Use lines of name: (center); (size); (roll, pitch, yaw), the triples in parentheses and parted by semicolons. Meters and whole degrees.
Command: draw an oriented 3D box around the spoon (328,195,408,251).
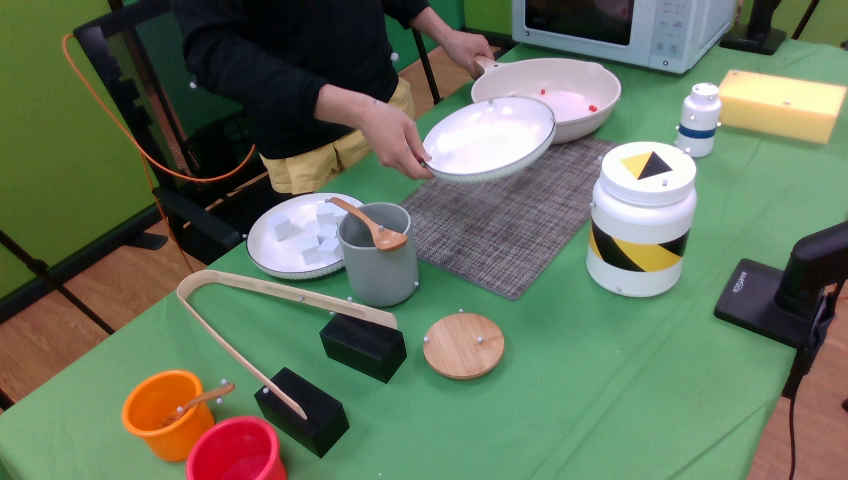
spoon: (-0.083, -0.029, 0.829); (0.042, 0.022, 0.192); (-31, 42, -21)

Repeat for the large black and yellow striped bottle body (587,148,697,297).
large black and yellow striped bottle body: (0.298, -0.026, 0.835); (0.131, 0.185, 0.130); (-4, 41, 4)

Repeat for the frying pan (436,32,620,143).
frying pan: (0.181, -0.343, 1.279); (0.308, 0.103, 0.483); (-26, 51, -24)

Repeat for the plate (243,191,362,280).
plate: (-0.187, -0.005, 0.992); (0.207, 0.039, 0.206); (-4, 40, 4)

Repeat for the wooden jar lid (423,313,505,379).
wooden jar lid: (0.053, 0.142, 0.800); (0.108, 0.021, 0.108); (-4, 39, 4)

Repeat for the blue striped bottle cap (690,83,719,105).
blue striped bottle cap: (0.481, -0.251, 1.038); (0.044, 0.021, 0.044); (-5, 40, 5)

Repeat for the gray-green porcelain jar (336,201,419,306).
gray-green porcelain jar: (-0.064, 0.024, 0.872); (0.106, 0.127, 0.105); (-4, 41, 4)

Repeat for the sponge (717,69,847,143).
sponge: (0.663, -0.256, 1.142); (0.205, 0.061, 0.118); (19, 47, 28)

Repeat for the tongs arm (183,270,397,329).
tongs arm: (-0.203, 0.086, 0.847); (0.382, 0.027, 0.051); (10, 44, 35)

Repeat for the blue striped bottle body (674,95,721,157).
blue striped bottle body: (0.486, -0.213, 1.071); (0.063, 0.121, 0.063); (-4, 41, 4)

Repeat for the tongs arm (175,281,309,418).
tongs arm: (-0.254, 0.134, 0.800); (0.028, 0.028, 0.384); (-41, 40, -23)

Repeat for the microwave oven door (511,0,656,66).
microwave oven door: (0.351, -0.539, 1.349); (0.353, 0.245, 0.039); (24, 50, 31)

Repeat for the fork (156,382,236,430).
fork: (-0.262, 0.189, 0.690); (0.018, 0.206, 0.028); (49, 43, -7)

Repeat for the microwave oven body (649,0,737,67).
microwave oven body: (0.475, -0.602, 1.411); (0.438, 0.261, 0.327); (23, 50, 32)

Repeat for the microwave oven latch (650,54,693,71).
microwave oven latch: (0.531, -0.386, 1.301); (0.078, 0.029, 0.030); (26, 51, 33)

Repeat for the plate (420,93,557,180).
plate: (0.098, -0.152, 0.910); (0.209, 0.038, 0.208); (-12, 39, 11)

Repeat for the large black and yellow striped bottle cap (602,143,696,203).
large black and yellow striped bottle cap: (0.289, -0.088, 0.779); (0.115, 0.019, 0.114); (-5, 39, 4)
